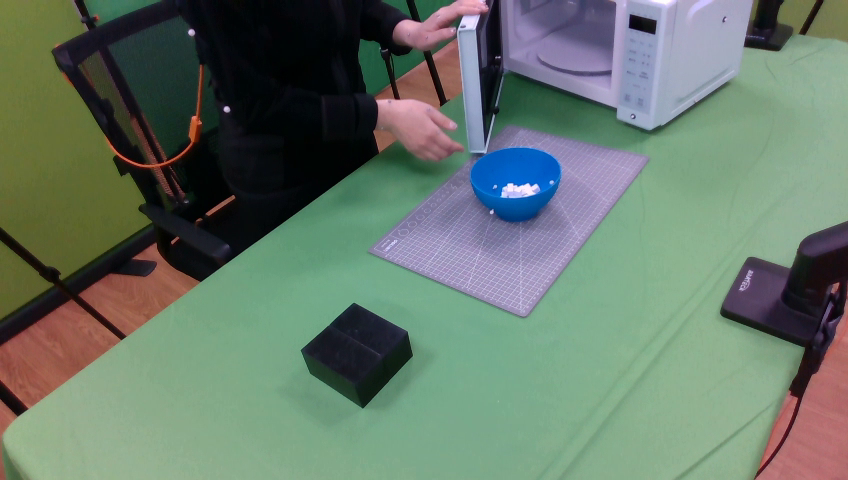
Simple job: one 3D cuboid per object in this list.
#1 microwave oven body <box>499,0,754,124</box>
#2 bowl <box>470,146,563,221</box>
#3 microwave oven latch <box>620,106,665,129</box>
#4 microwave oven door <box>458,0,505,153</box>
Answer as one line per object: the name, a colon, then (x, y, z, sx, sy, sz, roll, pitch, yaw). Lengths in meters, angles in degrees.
microwave oven body: (0.402, -0.458, 1.259, 0.327, 0.261, 0.437, -33, 45, -24)
bowl: (0.155, -0.084, 1.008, 0.151, 0.077, 0.150, -6, 40, 5)
microwave oven latch: (0.412, -0.237, 1.146, 0.030, 0.029, 0.078, -32, 44, -23)
microwave oven door: (0.121, -0.373, 1.206, 0.039, 0.245, 0.355, 2, 41, 13)
